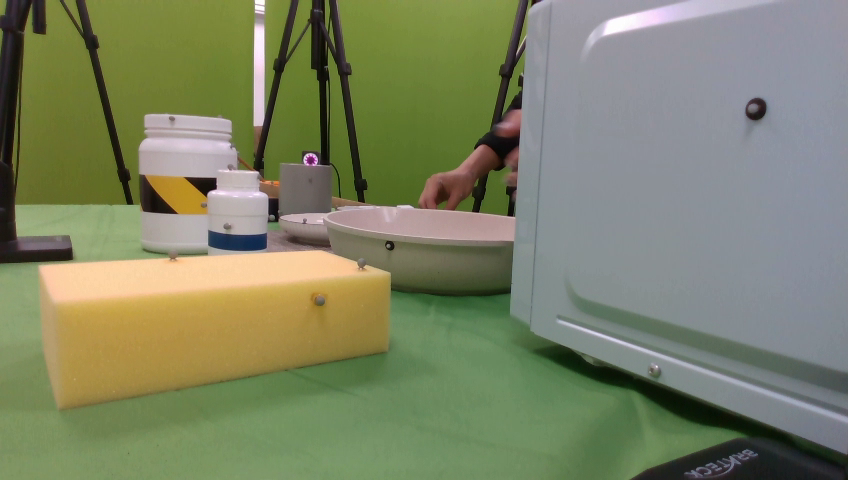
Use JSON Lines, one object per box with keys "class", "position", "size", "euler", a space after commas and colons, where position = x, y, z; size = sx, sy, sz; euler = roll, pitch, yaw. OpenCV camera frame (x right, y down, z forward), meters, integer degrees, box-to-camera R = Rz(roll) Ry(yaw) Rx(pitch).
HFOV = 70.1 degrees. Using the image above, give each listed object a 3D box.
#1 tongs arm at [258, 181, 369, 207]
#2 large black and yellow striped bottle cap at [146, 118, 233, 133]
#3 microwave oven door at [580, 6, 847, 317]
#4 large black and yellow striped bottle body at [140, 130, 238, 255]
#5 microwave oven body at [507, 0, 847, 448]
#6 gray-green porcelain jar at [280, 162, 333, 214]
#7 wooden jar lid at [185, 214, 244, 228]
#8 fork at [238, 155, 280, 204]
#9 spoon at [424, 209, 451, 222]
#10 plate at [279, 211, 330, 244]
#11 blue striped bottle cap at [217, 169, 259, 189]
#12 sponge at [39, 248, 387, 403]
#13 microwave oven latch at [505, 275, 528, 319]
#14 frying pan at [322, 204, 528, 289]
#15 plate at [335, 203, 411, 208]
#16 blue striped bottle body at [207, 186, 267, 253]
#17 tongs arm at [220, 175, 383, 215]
{"class": "tongs arm", "position": [-0.241, -0.095, 1.373], "size": [0.387, 0.026, 0.050], "euler": [9, 1, -37]}
{"class": "large black and yellow striped bottle cap", "position": [-0.333, -0.163, 0.861], "size": [0.115, 0.019, 0.115], "euler": [1, 9, 0]}
{"class": "microwave oven door", "position": [0.295, -0.067, 0.570], "size": [0.358, 0.243, 0.039], "euler": [-3, 9, -31]}
{"class": "large black and yellow striped bottle body", "position": [-0.336, -0.078, 0.871], "size": [0.131, 0.184, 0.130], "euler": [2, 8, 0]}
{"class": "microwave oven body", "position": [0.331, -0.042, 0.425], "size": [0.444, 0.260, 0.324], "euler": [-2, 8, -31]}
{"class": "gray-green porcelain jar", "position": [-0.238, -0.092, 1.221], "size": [0.106, 0.126, 0.106], "euler": [2, 7, 0]}
{"class": "wooden jar lid", "position": [-0.404, -0.037, 1.169], "size": [0.108, 0.020, 0.108], "euler": [3, 7, 0]}
{"class": "fork", "position": [-0.396, -0.143, 1.486], "size": [0.028, 0.018, 0.208], "euler": [19, -26, 45]}
{"class": "spoon", "position": [0.033, -0.046, 1.100], "size": [0.041, 0.021, 0.194], "euler": [-22, 0, 10]}
{"class": "plate", "position": [-0.139, -0.022, 1.021], "size": [0.209, 0.038, 0.209], "euler": [2, 8, 0]}
{"class": "blue striped bottle cap", "position": [-0.202, -0.067, 0.656], "size": [0.044, 0.020, 0.044], "euler": [0, 10, 0]}
{"class": "sponge", "position": [-0.142, 0.047, 0.420], "size": [0.208, 0.061, 0.117], "euler": [-3, 8, -37]}
{"class": "microwave oven latch", "position": [0.100, 0.042, 0.471], "size": [0.079, 0.029, 0.030], "euler": [-2, 7, -29]}
{"class": "frying pan", "position": [0.109, -0.018, 0.800], "size": [0.490, 0.102, 0.305], "euler": [-12, 16, -30]}
{"class": "plate", "position": [-0.089, -0.053, 1.309], "size": [0.208, 0.039, 0.207], "euler": [2, 8, 0]}
{"class": "blue striped bottle body", "position": [-0.204, -0.016, 0.663], "size": [0.063, 0.120, 0.063], "euler": [2, 7, 0]}
{"class": "tongs arm", "position": [-0.285, -0.106, 1.445], "size": [0.389, 0.027, 0.028], "euler": [10, -3, -23]}
